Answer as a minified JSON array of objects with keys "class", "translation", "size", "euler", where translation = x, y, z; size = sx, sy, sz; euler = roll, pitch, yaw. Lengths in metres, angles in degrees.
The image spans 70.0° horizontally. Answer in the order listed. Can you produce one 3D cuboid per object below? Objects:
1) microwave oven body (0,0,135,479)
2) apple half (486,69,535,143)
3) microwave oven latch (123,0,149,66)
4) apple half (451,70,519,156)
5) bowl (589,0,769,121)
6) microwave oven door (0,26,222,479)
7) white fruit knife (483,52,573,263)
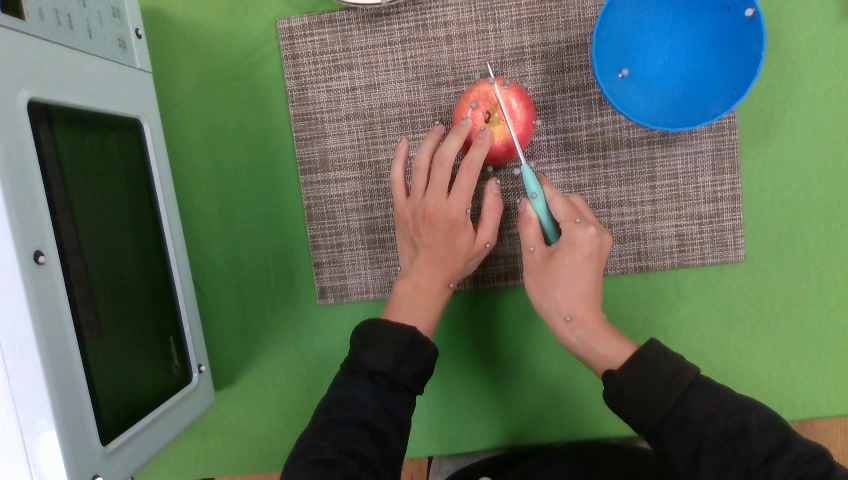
[{"class":"microwave oven body","translation":[-0.425,-0.006,0.541],"size":[0.326,0.259,0.442],"euler":[-9,98,4]},{"class":"apple half","translation":[0.089,-0.133,0.582],"size":[0.033,0.081,0.081],"euler":[-24,95,12]},{"class":"microwave oven latch","translation":[-0.299,-0.213,0.601],"size":[0.030,0.029,0.079],"euler":[-8,98,5]},{"class":"apple half","translation":[0.054,-0.116,0.588],"size":[0.053,0.074,0.081],"euler":[-25,99,12]},{"class":"bowl","translation":[0.223,-0.184,0.563],"size":[0.151,0.076,0.151],"euler":[1,98,4]},{"class":"microwave oven door","translation":[-0.274,0.014,0.529],"size":[0.039,0.243,0.356],"euler":[-9,97,6]},{"class":"white fruit knife","translation":[0.093,-0.070,0.546],"size":[0.016,0.027,0.208],"euler":[-21,102,17]}]
